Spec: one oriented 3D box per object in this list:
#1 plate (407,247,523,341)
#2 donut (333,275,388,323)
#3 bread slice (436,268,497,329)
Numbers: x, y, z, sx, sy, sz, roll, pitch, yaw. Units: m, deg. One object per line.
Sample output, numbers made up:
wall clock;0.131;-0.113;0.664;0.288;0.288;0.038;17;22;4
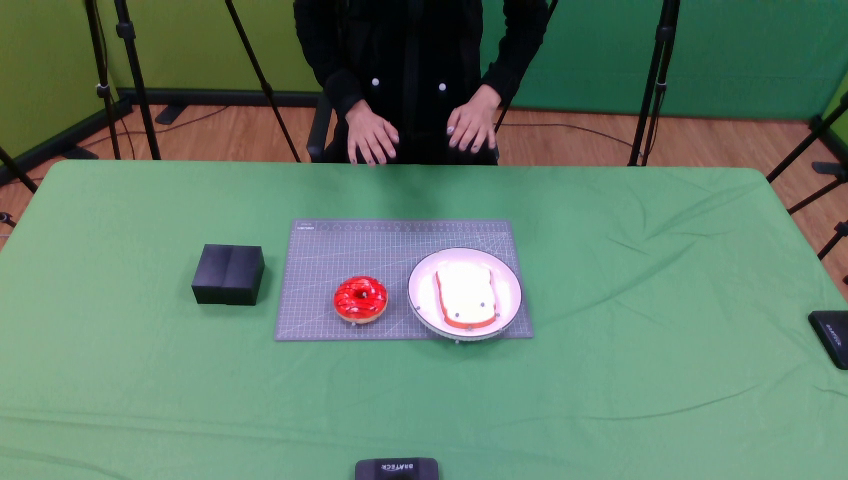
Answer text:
plate;0.073;0.098;1.093;0.209;0.038;0.208;2;46;-2
donut;-0.112;0.103;1.072;0.099;0.048;0.098;0;46;0
bread slice;0.080;0.102;1.091;0.105;0.019;0.130;-3;46;-5
